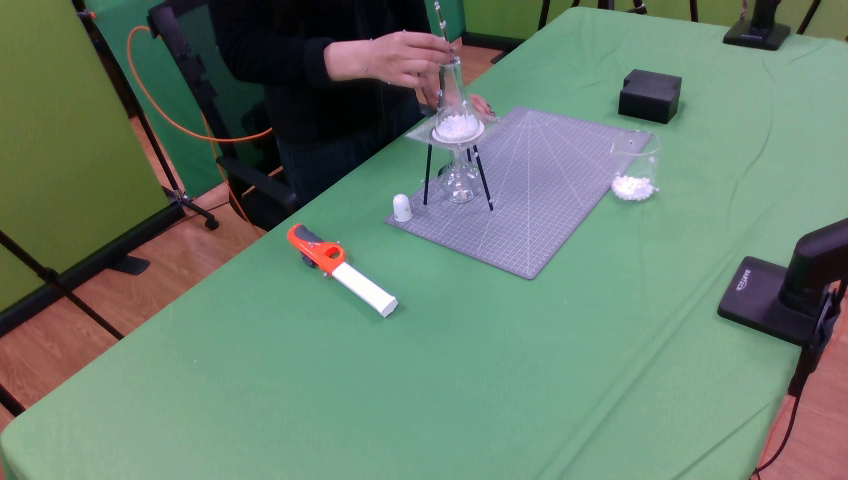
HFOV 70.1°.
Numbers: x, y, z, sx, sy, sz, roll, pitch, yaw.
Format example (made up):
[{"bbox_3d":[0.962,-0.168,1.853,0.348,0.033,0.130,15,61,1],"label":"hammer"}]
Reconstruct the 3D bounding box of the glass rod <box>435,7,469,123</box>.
[{"bbox_3d":[0.045,-0.263,0.928,0.008,0.201,0.008,-11,44,11],"label":"glass rod"}]

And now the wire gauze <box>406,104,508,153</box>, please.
[{"bbox_3d":[0.054,-0.183,0.997,0.120,0.011,0.125,25,53,38],"label":"wire gauze"}]

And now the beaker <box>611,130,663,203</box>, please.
[{"bbox_3d":[0.346,-0.118,0.998,0.084,0.101,0.073,-17,40,-7],"label":"beaker"}]

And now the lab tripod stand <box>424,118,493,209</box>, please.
[{"bbox_3d":[0.061,-0.133,1.039,0.148,0.132,0.147,-6,38,6],"label":"lab tripod stand"}]

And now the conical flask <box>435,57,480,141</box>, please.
[{"bbox_3d":[0.046,-0.224,0.955,0.075,0.122,0.075,-7,39,6],"label":"conical flask"}]

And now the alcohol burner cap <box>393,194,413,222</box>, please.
[{"bbox_3d":[-0.039,-0.057,1.038,0.034,0.048,0.033,-6,40,5],"label":"alcohol burner cap"}]

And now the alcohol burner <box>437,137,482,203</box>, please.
[{"bbox_3d":[0.060,-0.125,1.045,0.078,0.119,0.077,-5,38,4],"label":"alcohol burner"}]

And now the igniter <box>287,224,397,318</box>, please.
[{"bbox_3d":[-0.139,0.042,0.958,0.057,0.025,0.274,-42,49,-19],"label":"igniter"}]
